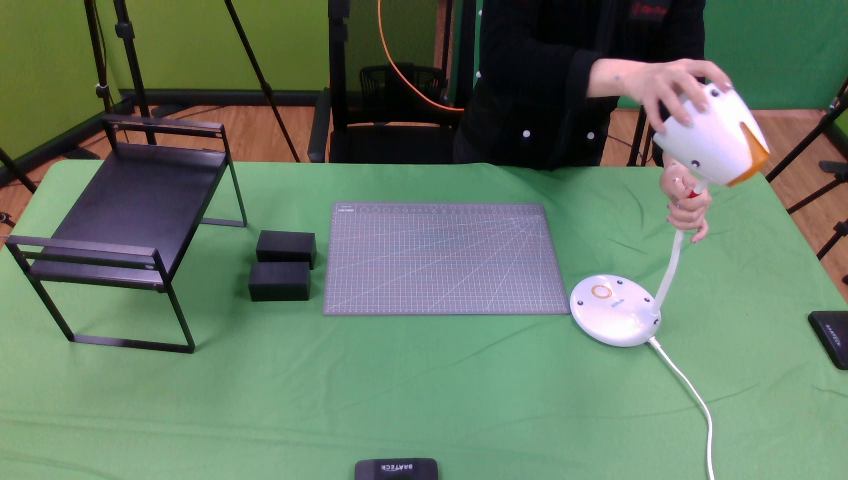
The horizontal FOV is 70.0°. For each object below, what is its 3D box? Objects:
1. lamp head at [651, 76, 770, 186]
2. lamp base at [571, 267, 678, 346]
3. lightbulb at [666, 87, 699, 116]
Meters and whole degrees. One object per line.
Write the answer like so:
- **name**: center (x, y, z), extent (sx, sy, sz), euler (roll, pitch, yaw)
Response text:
- **lamp head**: center (0.373, -0.127, 0.778), extent (0.112, 0.112, 0.122), euler (-31, 78, -29)
- **lamp base**: center (0.359, 0.077, 1.038), extent (0.160, 0.181, 0.178), euler (-33, 59, -30)
- **lightbulb**: center (0.355, -0.149, 0.777), extent (0.059, 0.060, 0.107), euler (-13, 61, -16)
